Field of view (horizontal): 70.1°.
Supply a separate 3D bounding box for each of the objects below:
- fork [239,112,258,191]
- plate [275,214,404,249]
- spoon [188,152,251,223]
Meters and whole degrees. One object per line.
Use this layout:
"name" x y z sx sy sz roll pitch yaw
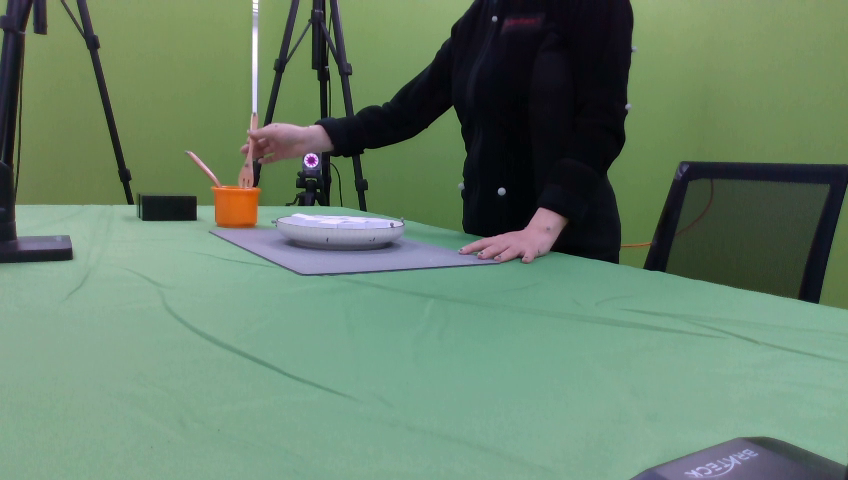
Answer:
"fork" -0.349 -0.181 1.215 0.028 0.207 0.018 12 -33 -22
"plate" -0.135 -0.013 0.982 0.208 0.039 0.207 3 7 0
"spoon" -0.400 -0.103 1.178 0.021 0.193 0.042 -43 -11 28
